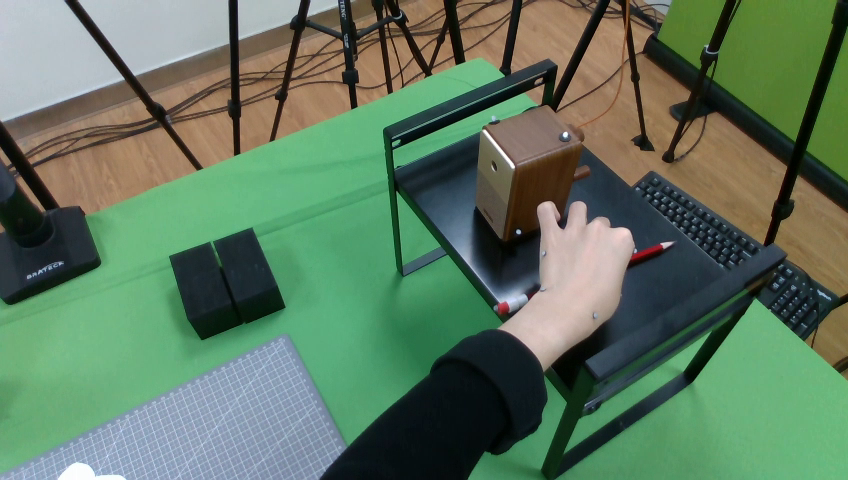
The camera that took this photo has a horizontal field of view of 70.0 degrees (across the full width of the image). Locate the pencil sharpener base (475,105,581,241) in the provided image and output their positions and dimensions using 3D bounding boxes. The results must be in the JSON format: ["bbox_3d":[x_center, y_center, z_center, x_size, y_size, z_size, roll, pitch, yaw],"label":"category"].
[{"bbox_3d":[0.096,-0.062,0.567,0.077,0.108,0.060,-22,55,-16],"label":"pencil sharpener base"}]

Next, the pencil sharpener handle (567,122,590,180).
[{"bbox_3d":[0.143,-0.085,0.569,0.031,0.068,0.035,-22,44,-16],"label":"pencil sharpener handle"}]

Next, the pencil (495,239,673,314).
[{"bbox_3d":[0.152,0.030,0.556,0.194,0.012,0.012,-20,54,-16],"label":"pencil"}]
